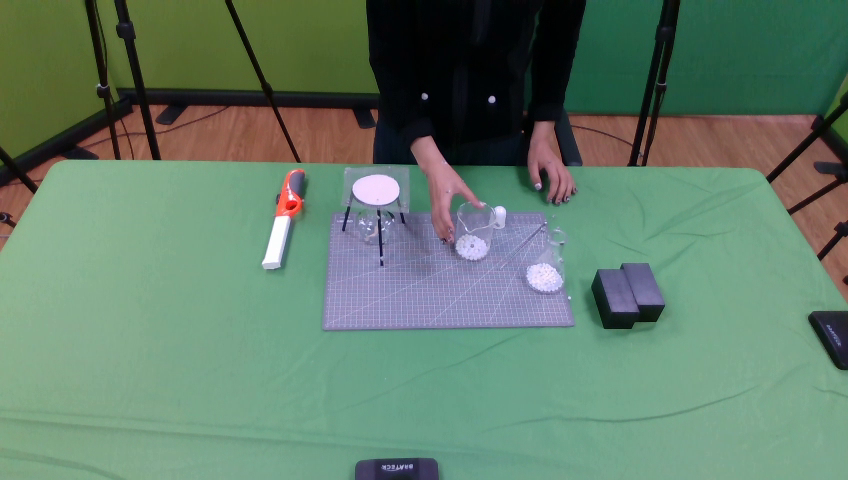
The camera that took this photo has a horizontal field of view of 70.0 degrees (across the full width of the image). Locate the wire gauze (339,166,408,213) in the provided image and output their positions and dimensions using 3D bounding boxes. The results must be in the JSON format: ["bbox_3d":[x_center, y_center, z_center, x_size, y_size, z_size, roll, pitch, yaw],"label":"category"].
[{"bbox_3d":[-0.091,-0.096,1.110,0.125,0.011,0.120,2,45,-3],"label":"wire gauze"}]

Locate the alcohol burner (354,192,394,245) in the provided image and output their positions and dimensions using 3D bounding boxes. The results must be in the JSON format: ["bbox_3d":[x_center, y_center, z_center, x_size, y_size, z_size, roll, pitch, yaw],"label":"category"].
[{"bbox_3d":[-0.096,-0.048,1.171,0.078,0.119,0.077,4,45,-4],"label":"alcohol burner"}]

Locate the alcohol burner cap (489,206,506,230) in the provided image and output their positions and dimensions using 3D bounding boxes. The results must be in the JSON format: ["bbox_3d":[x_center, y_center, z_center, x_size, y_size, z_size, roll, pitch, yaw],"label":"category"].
[{"bbox_3d":[0.152,-0.047,1.240,0.034,0.048,0.033,3,46,-2],"label":"alcohol burner cap"}]

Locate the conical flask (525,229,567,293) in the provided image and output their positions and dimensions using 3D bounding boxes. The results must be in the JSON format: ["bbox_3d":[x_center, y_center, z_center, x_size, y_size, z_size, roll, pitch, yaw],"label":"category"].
[{"bbox_3d":[0.231,0.036,1.110,0.075,0.122,0.075,2,46,-2],"label":"conical flask"}]

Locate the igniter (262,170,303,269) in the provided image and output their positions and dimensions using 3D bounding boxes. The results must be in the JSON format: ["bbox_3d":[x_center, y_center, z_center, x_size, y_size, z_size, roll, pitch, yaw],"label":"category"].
[{"bbox_3d":[-0.283,-0.050,1.222,0.057,0.025,0.275,-5,45,6],"label":"igniter"}]

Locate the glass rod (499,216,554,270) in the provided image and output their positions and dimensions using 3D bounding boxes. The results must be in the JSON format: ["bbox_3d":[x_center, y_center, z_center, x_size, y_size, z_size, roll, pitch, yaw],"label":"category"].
[{"bbox_3d":[0.208,0.002,1.219,0.008,0.008,0.199,32,52,25],"label":"glass rod"}]

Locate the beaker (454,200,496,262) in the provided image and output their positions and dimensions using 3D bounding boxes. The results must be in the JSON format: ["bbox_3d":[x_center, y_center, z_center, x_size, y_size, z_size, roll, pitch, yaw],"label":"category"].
[{"bbox_3d":[0.094,-0.012,1.162,0.074,0.101,0.083,16,48,12],"label":"beaker"}]

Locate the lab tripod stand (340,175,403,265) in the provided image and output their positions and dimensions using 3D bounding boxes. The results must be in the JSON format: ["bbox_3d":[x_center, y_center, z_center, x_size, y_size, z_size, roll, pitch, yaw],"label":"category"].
[{"bbox_3d":[-0.093,-0.050,1.160,0.148,0.132,0.147,2,44,-2],"label":"lab tripod stand"}]
